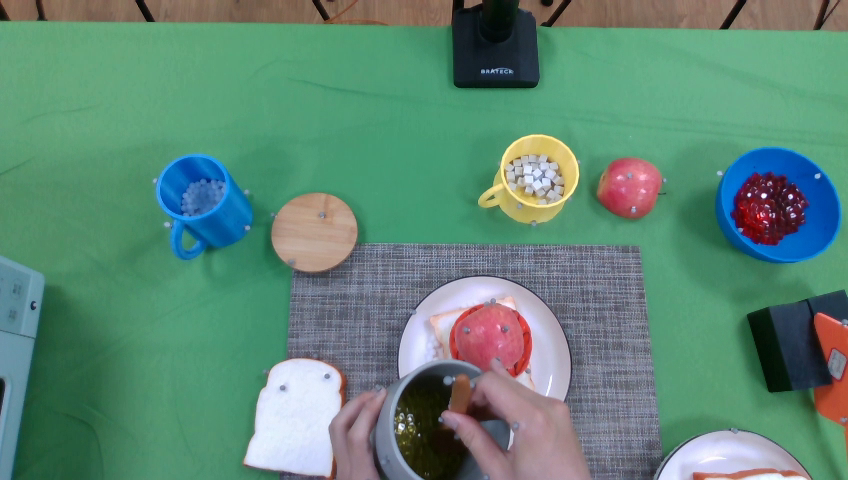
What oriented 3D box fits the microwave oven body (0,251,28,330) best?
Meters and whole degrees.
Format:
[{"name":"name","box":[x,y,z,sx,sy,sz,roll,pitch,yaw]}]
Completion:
[{"name":"microwave oven body","box":[-0.619,0.206,0.563,0.326,0.261,0.439,1,74,-2]}]

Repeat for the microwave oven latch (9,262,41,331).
[{"name":"microwave oven latch","box":[-0.474,0.066,0.709,0.030,0.029,0.078,4,74,-1]}]

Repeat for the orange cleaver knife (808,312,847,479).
[{"name":"orange cleaver knife","box":[0.485,0.191,0.710,0.012,0.077,0.211,-10,96,-12]}]

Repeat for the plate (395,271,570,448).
[{"name":"plate","box":[0.068,0.142,0.726,0.208,0.039,0.206,1,74,-2]}]

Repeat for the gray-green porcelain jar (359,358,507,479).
[{"name":"gray-green porcelain jar","box":[0.001,0.170,0.544,0.106,0.127,0.105,7,66,-16]}]

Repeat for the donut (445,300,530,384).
[{"name":"donut","box":[0.074,0.119,0.704,0.099,0.048,0.098,1,74,-2]}]

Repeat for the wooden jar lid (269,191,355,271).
[{"name":"wooden jar lid","box":[-0.141,-0.010,0.771,0.108,0.021,0.107,1,70,-2]}]

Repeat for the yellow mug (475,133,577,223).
[{"name":"yellow mug","box":[0.126,-0.072,0.780,0.131,0.064,0.099,-23,76,-8]}]

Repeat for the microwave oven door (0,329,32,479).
[{"name":"microwave oven door","box":[-0.474,0.247,0.551,0.039,0.245,0.353,0,73,-2]}]

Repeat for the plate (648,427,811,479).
[{"name":"plate","box":[0.348,0.321,0.690,0.209,0.038,0.208,1,74,-2]}]

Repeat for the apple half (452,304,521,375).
[{"name":"apple half","box":[0.072,0.108,0.669,0.081,0.033,0.081,-1,72,4]}]

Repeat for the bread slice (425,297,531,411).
[{"name":"bread slice","box":[0.073,0.142,0.731,0.107,0.018,0.133,-16,72,-7]}]

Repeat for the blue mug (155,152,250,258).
[{"name":"blue mug","box":[-0.270,-0.033,0.730,0.082,0.106,0.116,20,74,4]}]

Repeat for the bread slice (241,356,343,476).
[{"name":"bread slice","box":[-0.150,0.202,0.710,0.105,0.019,0.131,8,74,-1]}]

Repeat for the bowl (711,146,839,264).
[{"name":"bowl","box":[0.431,-0.035,0.775,0.151,0.077,0.150,1,74,-2]}]

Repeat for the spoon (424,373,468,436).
[{"name":"spoon","box":[0.023,0.140,0.501,0.041,0.195,0.021,8,66,2]}]

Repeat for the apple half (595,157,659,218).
[{"name":"apple half","box":[0.269,-0.075,0.793,0.074,0.053,0.080,22,74,7]}]
